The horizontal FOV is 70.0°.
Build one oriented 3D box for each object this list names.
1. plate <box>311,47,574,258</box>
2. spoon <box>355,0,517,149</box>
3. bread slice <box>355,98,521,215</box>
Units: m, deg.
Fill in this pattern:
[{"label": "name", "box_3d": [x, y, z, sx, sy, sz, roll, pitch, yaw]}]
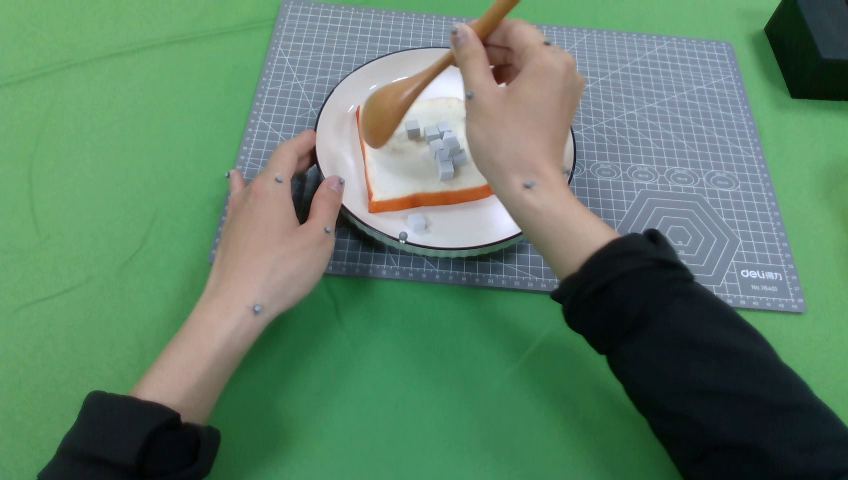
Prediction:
[{"label": "plate", "box_3d": [0.015, -0.072, 0.490, 0.209, 0.038, 0.207, 2, 59, -3]}, {"label": "spoon", "box_3d": [0.012, -0.127, 0.418, 0.022, 0.194, 0.041, 6, 56, -52]}, {"label": "bread slice", "box_3d": [0.012, -0.075, 0.495, 0.132, 0.019, 0.104, -9, 61, -8]}]
